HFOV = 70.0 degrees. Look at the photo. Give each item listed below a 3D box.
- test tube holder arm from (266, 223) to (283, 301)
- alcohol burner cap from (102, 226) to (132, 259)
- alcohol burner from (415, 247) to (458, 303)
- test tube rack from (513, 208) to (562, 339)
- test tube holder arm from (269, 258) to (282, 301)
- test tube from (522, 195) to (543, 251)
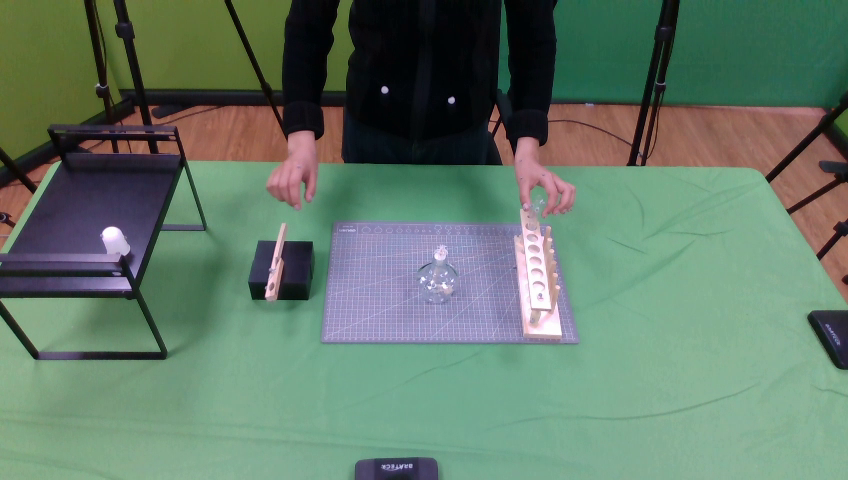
[{"bbox_3d":[-0.266,0.035,1.080,0.013,0.015,0.177,-5,46,-2],"label":"test tube holder arm"},{"bbox_3d":[-0.456,0.001,0.897,0.034,0.048,0.033,2,47,-2],"label":"alcohol burner cap"},{"bbox_3d":[0.024,0.057,1.078,0.078,0.119,0.077,3,44,-2],"label":"alcohol burner"},{"bbox_3d":[0.212,0.056,1.113,0.067,0.085,0.241,3,46,-1],"label":"test tube rack"},{"bbox_3d":[-0.257,0.067,1.049,0.010,0.015,0.087,-4,46,-1],"label":"test tube holder arm"},{"bbox_3d":[0.200,-0.028,1.125,0.017,0.151,0.017,1,50,-1],"label":"test tube"}]
